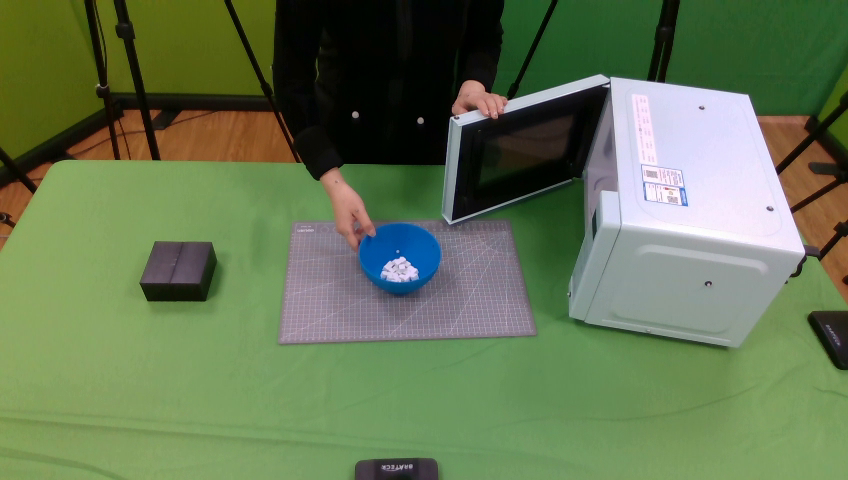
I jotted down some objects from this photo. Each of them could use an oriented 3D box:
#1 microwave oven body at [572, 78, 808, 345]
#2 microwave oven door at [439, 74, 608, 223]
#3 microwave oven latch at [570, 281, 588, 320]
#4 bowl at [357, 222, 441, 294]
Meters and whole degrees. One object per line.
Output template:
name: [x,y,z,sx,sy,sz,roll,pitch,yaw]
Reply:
microwave oven body: [0.455,-0.063,1.124,0.326,0.261,0.439,8,45,5]
microwave oven door: [0.199,-0.185,1.215,0.356,0.245,0.039,-20,51,-22]
microwave oven latch: [0.275,0.105,1.082,0.030,0.029,0.079,9,45,6]
bowl: [-0.047,0.046,1.107,0.151,0.077,0.150,2,46,-2]
